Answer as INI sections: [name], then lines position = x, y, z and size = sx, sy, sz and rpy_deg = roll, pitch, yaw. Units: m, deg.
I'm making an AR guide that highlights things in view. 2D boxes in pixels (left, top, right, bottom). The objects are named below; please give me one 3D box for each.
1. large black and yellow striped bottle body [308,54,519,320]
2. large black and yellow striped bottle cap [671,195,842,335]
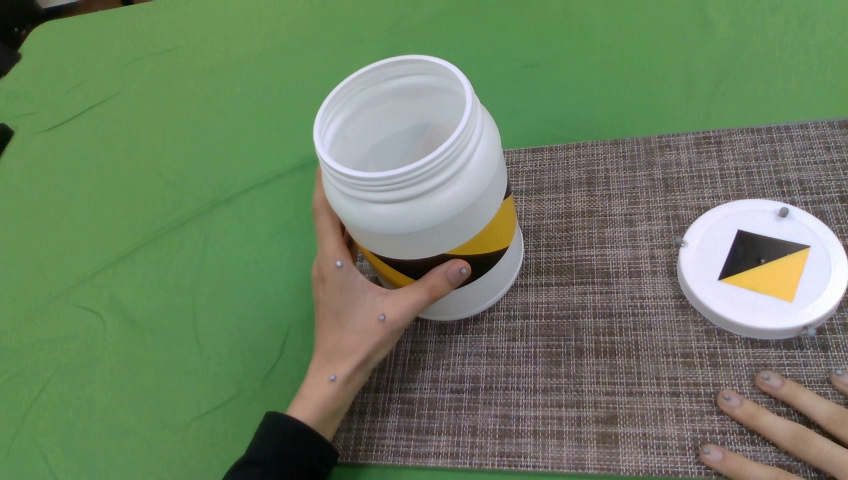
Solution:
[large black and yellow striped bottle body]
position = -0.003, -0.034, 0.462
size = 0.130, 0.186, 0.129
rpy_deg = -8, 56, 12
[large black and yellow striped bottle cap]
position = 0.249, 0.016, 0.459
size = 0.115, 0.019, 0.114
rpy_deg = -7, 57, 12
